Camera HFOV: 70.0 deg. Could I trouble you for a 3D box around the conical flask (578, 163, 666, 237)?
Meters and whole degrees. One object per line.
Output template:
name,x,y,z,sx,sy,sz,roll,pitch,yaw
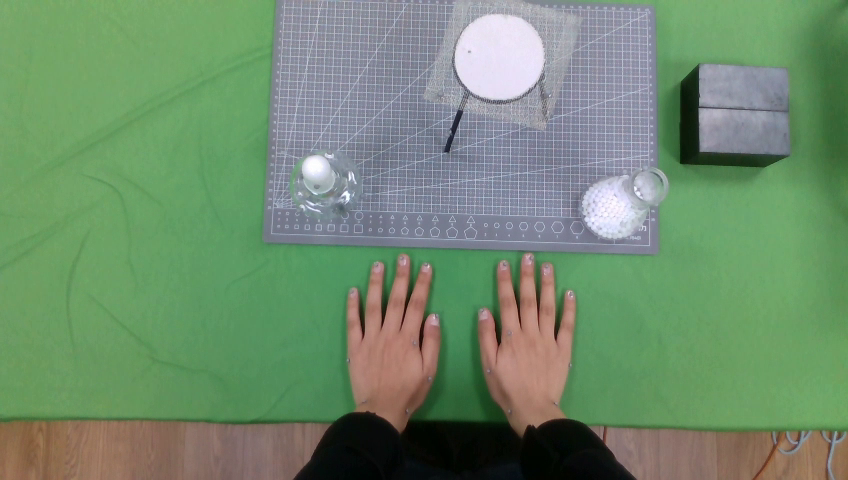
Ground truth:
conical flask,0.212,-0.047,0.635,0.075,0.122,0.075,0,83,-1

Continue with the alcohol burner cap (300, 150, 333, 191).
alcohol burner cap,-0.109,-0.071,0.601,0.034,0.048,0.033,1,79,-4

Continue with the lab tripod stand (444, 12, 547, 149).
lab tripod stand,0.068,-0.171,0.641,0.148,0.132,0.148,0,83,1

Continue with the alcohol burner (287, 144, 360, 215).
alcohol burner,-0.108,-0.067,0.637,0.078,0.119,0.077,0,84,0

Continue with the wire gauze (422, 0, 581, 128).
wire gauze,0.075,-0.178,0.575,0.121,0.011,0.125,19,83,2
